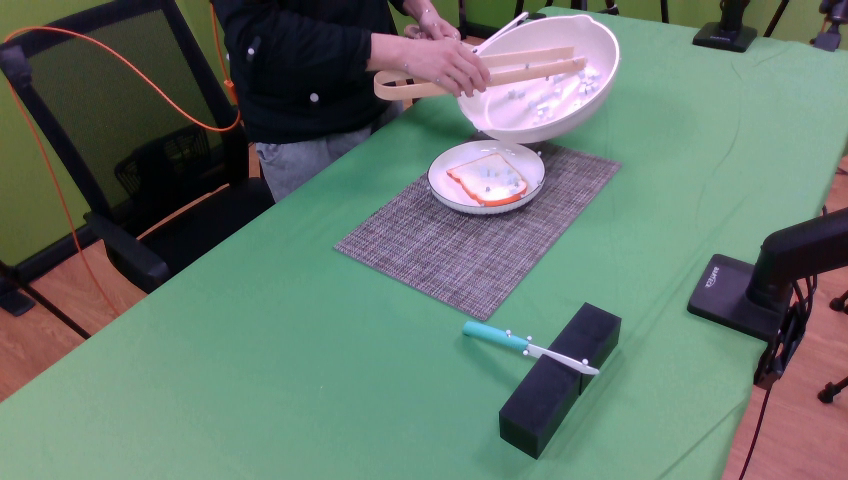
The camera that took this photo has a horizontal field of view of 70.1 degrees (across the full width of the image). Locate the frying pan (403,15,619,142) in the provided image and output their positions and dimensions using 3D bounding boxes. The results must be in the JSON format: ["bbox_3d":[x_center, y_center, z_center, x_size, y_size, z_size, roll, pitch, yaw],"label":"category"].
[{"bbox_3d":[0.135,-0.335,1.149,0.484,0.103,0.307,35,74,32],"label":"frying pan"}]

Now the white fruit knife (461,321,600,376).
[{"bbox_3d":[0.125,0.133,0.751,0.205,0.027,0.016,12,43,41],"label":"white fruit knife"}]

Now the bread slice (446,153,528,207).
[{"bbox_3d":[0.117,-0.104,1.057,0.107,0.018,0.133,-24,41,-17],"label":"bread slice"}]

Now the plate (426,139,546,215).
[{"bbox_3d":[0.109,-0.107,1.058,0.207,0.039,0.206,-4,40,4],"label":"plate"}]

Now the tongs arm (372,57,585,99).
[{"bbox_3d":[0.101,-0.289,1.055,0.386,0.026,0.050,-14,50,-16],"label":"tongs arm"}]

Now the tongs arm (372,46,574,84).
[{"bbox_3d":[0.093,-0.309,1.073,0.389,0.028,0.028,-12,53,-14],"label":"tongs arm"}]
